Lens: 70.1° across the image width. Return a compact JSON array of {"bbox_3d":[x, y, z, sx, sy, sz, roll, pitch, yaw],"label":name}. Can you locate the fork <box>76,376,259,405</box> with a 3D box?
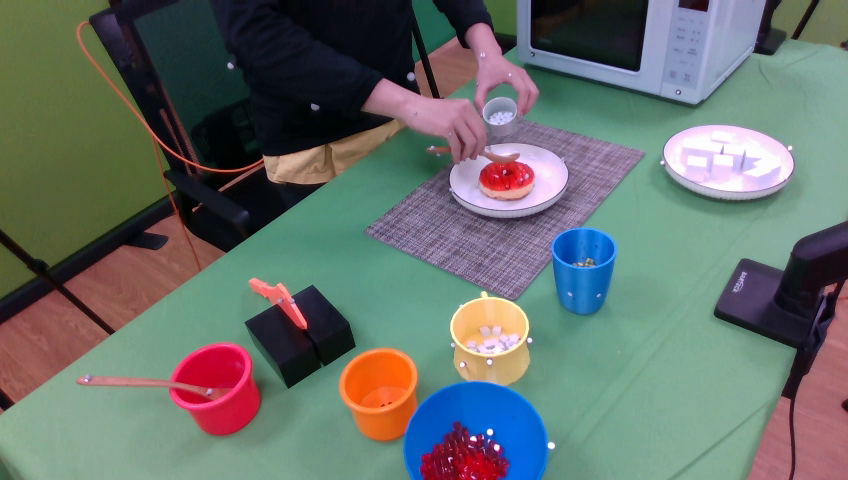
[{"bbox_3d":[-0.295,0.176,0.716,0.209,0.018,0.028,19,26,-36],"label":"fork"}]

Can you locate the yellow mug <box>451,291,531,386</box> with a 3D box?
[{"bbox_3d":[0.085,0.120,0.786,0.100,0.064,0.130,-7,39,1],"label":"yellow mug"}]

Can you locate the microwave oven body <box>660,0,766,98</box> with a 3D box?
[{"bbox_3d":[0.473,-0.513,1.317,0.438,0.261,0.327,26,51,34],"label":"microwave oven body"}]

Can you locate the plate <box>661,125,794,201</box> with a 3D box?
[{"bbox_3d":[0.513,-0.128,1.035,0.207,0.039,0.206,-4,40,4],"label":"plate"}]

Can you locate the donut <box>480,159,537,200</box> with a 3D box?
[{"bbox_3d":[0.146,-0.106,1.042,0.099,0.048,0.098,-5,38,4],"label":"donut"}]

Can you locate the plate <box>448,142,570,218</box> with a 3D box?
[{"bbox_3d":[0.148,-0.101,1.053,0.209,0.038,0.208,-4,40,4],"label":"plate"}]

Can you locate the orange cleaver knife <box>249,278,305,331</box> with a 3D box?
[{"bbox_3d":[-0.210,0.088,0.856,0.012,0.077,0.210,-28,15,-25],"label":"orange cleaver knife"}]

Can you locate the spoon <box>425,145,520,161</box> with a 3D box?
[{"bbox_3d":[0.078,-0.140,0.953,0.195,0.021,0.041,1,5,-38],"label":"spoon"}]

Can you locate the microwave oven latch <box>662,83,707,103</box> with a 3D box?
[{"bbox_3d":[0.517,-0.296,1.204,0.078,0.029,0.030,27,52,35],"label":"microwave oven latch"}]

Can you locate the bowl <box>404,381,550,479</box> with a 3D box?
[{"bbox_3d":[0.058,0.235,0.645,0.151,0.077,0.150,-4,39,4],"label":"bowl"}]

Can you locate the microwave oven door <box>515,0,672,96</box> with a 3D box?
[{"bbox_3d":[0.344,-0.455,1.260,0.353,0.245,0.039,26,51,33],"label":"microwave oven door"}]

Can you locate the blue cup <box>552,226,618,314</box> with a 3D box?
[{"bbox_3d":[0.218,0.047,0.826,0.092,0.100,0.092,-6,40,5],"label":"blue cup"}]

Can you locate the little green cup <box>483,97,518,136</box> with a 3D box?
[{"bbox_3d":[0.135,-0.216,1.064,0.061,0.039,0.061,-5,61,9],"label":"little green cup"}]
